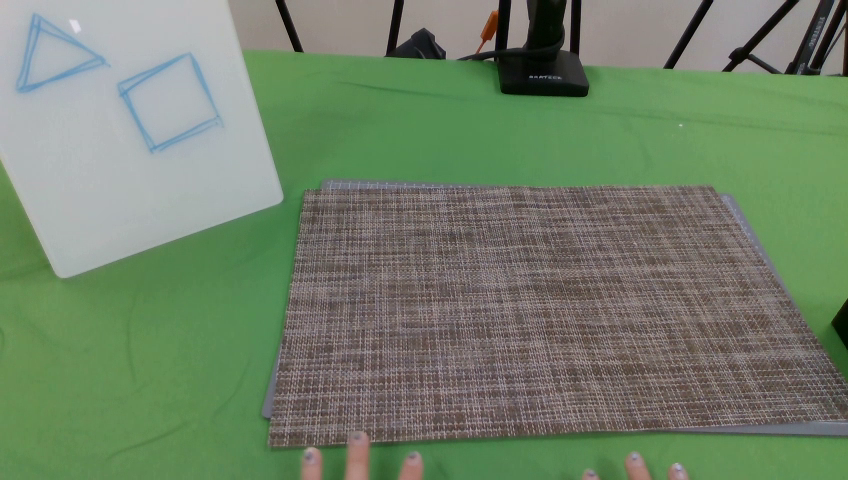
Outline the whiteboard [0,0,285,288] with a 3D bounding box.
[{"bbox_3d":[-0.293,-0.151,0.570,0.217,0.308,0.142,-23,28,-26],"label":"whiteboard"}]
